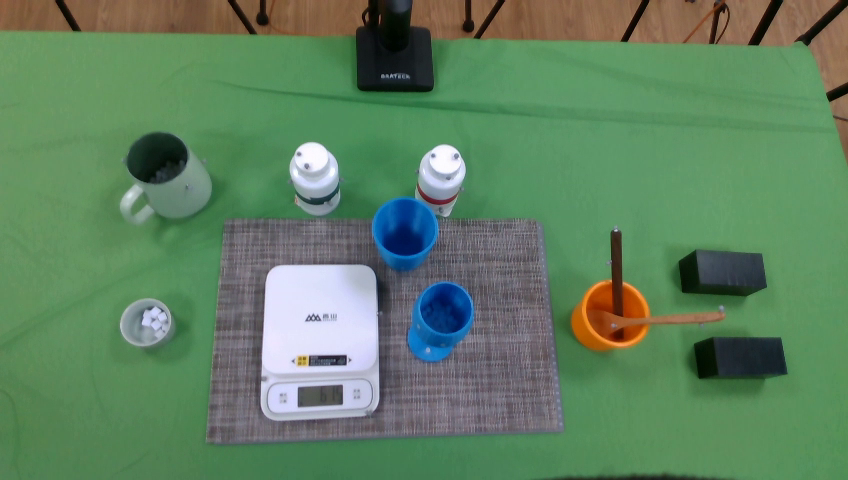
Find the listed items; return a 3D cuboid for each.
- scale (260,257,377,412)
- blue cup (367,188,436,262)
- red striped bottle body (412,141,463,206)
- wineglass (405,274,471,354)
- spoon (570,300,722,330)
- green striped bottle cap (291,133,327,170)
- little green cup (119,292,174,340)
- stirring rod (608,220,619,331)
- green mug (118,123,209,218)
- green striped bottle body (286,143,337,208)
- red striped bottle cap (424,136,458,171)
[{"bbox_3d":[-0.137,0.119,0.794,0.149,0.032,0.199,-1,72,-6],"label":"scale"},{"bbox_3d":[-0.031,-0.012,0.814,0.093,0.100,0.092,1,74,-5],"label":"blue cup"},{"bbox_3d":[0.018,-0.096,0.841,0.063,0.120,0.062,2,71,-6],"label":"red striped bottle body"},{"bbox_3d":[0.013,0.095,0.743,0.074,0.173,0.073,2,71,-5],"label":"wineglass"},{"bbox_3d":[0.284,0.095,0.791,0.022,0.193,0.041,12,74,-48],"label":"spoon"},{"bbox_3d":[-0.146,-0.113,0.769,0.044,0.020,0.044,2,71,-4],"label":"green striped bottle cap"},{"bbox_3d":[-0.352,0.100,0.777,0.061,0.039,0.061,2,71,-6],"label":"little green cup"},{"bbox_3d":[0.251,0.051,0.800,0.014,0.177,0.006,6,35,26],"label":"stirring rod"},{"bbox_3d":[-0.353,-0.083,0.803,0.092,0.105,0.125,33,71,5],"label":"green mug"},{"bbox_3d":[-0.152,-0.094,0.821,0.063,0.120,0.063,2,71,-5],"label":"green striped bottle body"},{"bbox_3d":[0.023,-0.113,0.790,0.044,0.018,0.044,2,69,-5],"label":"red striped bottle cap"}]
